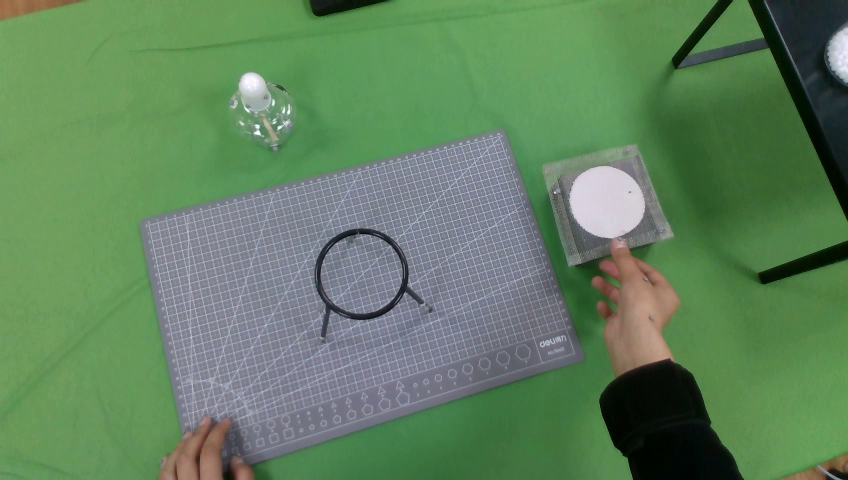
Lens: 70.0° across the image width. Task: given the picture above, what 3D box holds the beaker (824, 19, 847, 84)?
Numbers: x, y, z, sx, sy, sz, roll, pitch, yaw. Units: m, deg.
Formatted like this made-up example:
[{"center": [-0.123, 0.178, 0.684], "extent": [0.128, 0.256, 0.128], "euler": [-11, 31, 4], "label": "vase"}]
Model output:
[{"center": [0.434, -0.193, 0.562], "extent": [0.084, 0.100, 0.073], "euler": [-29, 79, -9], "label": "beaker"}]

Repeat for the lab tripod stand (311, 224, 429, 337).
[{"center": [-0.061, 0.043, 0.636], "extent": [0.148, 0.132, 0.147], "euler": [1, 75, -5], "label": "lab tripod stand"}]

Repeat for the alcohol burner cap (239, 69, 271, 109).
[{"center": [-0.185, -0.166, 0.656], "extent": [0.034, 0.048, 0.033], "euler": [1, 80, -8], "label": "alcohol burner cap"}]

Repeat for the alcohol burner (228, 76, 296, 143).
[{"center": [-0.186, -0.158, 0.690], "extent": [0.078, 0.119, 0.077], "euler": [1, 76, -5], "label": "alcohol burner"}]

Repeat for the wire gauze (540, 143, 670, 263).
[{"center": [0.205, -0.046, 0.692], "extent": [0.121, 0.011, 0.124], "euler": [-13, 77, -4], "label": "wire gauze"}]
